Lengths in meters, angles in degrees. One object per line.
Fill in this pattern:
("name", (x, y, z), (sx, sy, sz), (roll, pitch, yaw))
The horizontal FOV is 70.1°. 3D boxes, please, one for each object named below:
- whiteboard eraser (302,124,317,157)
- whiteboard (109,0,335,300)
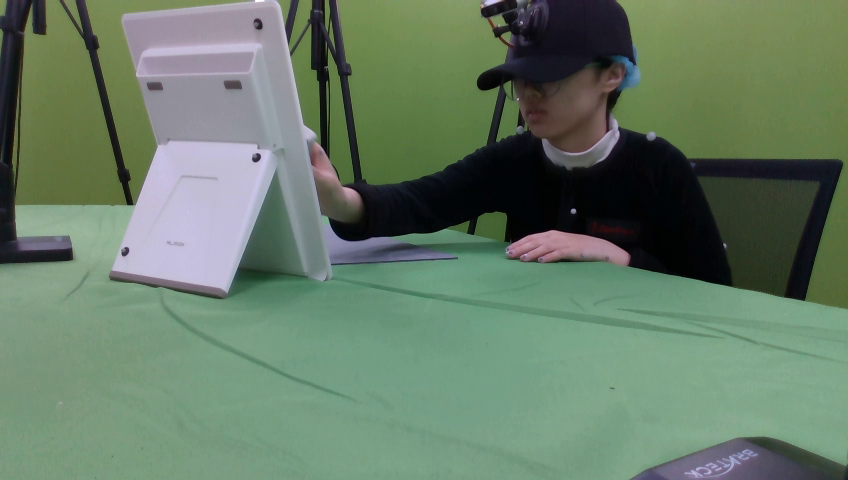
("whiteboard eraser", (-0.165, -0.086, 0.681), (0.055, 0.112, 0.042), (37, 38, 3))
("whiteboard", (-0.247, -0.072, 0.624), (0.216, 0.305, 0.144), (6, 28, 26))
